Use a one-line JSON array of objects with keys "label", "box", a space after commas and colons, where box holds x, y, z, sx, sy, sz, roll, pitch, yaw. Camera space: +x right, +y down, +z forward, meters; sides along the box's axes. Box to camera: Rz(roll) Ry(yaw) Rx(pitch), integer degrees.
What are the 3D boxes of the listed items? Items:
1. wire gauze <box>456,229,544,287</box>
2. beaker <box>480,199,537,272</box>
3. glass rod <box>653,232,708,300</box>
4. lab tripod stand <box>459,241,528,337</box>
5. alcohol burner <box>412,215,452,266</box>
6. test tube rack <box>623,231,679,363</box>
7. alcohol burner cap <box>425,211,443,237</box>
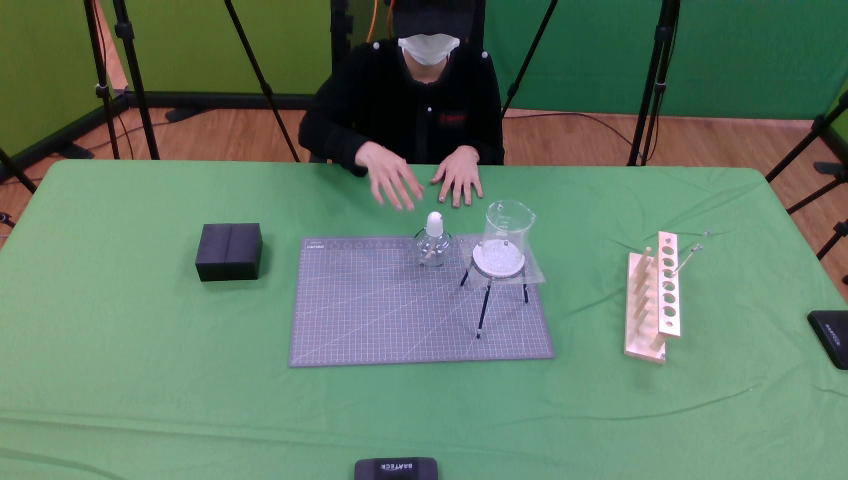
[{"label": "wire gauze", "box": [0.125, 0.030, 1.008, 0.125, 0.011, 0.120, -2, 48, -11]}, {"label": "beaker", "box": [0.132, -0.004, 0.973, 0.084, 0.101, 0.073, -4, 47, -9]}, {"label": "glass rod", "box": [0.441, 0.049, 1.050, 0.008, 0.200, 0.008, 4, 52, -5]}, {"label": "lab tripod stand", "box": [0.122, 0.075, 1.054, 0.148, 0.132, 0.147, 3, 44, -2]}, {"label": "alcohol burner", "box": [0.016, -0.006, 1.139, 0.078, 0.119, 0.077, 2, 48, -2]}, {"label": "test tube rack", "box": [0.410, 0.094, 1.096, 0.066, 0.085, 0.241, 13, 46, 9]}, {"label": "alcohol burner cap", "box": [0.019, -0.032, 1.113, 0.034, 0.048, 0.033, 1, 48, -1]}]
